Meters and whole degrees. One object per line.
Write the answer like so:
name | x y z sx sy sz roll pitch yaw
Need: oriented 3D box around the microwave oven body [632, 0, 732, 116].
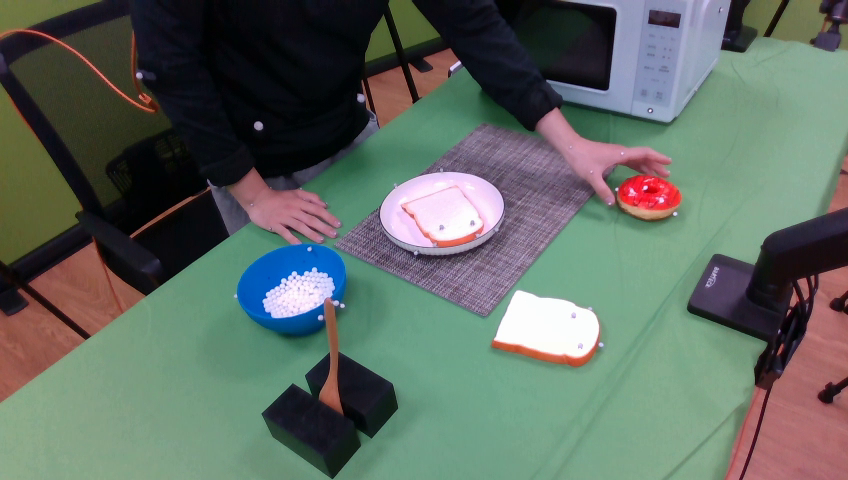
microwave oven body | 0.377 -0.462 1.267 0.438 0.261 0.327 21 48 30

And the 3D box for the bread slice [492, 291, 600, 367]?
bread slice | 0.169 0.118 0.811 0.131 0.019 0.105 11 44 22

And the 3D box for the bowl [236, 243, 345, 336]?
bowl | -0.180 0.082 0.855 0.151 0.077 0.150 -4 40 4

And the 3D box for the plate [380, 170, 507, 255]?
plate | 0.033 -0.042 0.995 0.207 0.039 0.206 -4 40 4

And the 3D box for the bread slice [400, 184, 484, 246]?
bread slice | 0.037 -0.038 0.990 0.107 0.018 0.133 -23 43 -17

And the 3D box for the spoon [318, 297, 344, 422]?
spoon | -0.107 0.139 0.687 0.041 0.194 0.022 27 37 31

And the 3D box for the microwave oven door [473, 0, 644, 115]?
microwave oven door | 0.257 -0.396 1.199 0.353 0.245 0.039 21 48 29

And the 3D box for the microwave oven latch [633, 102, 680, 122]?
microwave oven latch | 0.444 -0.249 1.157 0.078 0.029 0.030 21 49 30

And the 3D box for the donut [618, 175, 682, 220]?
donut | 0.366 -0.069 0.982 0.099 0.048 0.098 -3 38 3
